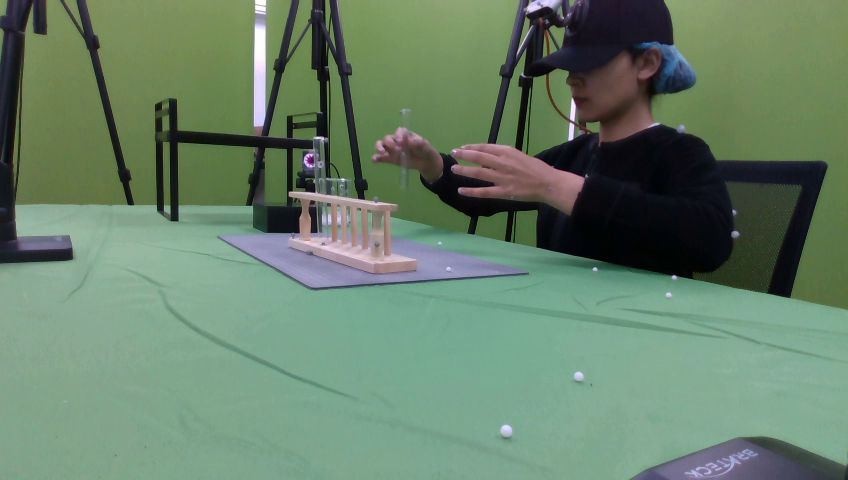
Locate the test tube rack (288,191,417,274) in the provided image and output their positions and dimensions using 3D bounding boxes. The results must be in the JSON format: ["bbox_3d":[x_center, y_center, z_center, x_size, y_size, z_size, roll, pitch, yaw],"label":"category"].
[{"bbox_3d":[-0.106,-0.017,0.835,0.067,0.085,0.241,-3,9,-37],"label":"test tube rack"}]

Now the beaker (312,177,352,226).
[{"bbox_3d":[-0.194,-0.081,1.266,0.084,0.100,0.073,-3,9,-29],"label":"beaker"}]

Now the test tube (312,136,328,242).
[{"bbox_3d":[-0.146,-0.071,0.850,0.017,0.150,0.017,-1,11,0],"label":"test tube"}]

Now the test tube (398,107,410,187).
[{"bbox_3d":[-0.038,-0.174,1.137,0.017,0.150,0.017,3,13,0],"label":"test tube"}]
